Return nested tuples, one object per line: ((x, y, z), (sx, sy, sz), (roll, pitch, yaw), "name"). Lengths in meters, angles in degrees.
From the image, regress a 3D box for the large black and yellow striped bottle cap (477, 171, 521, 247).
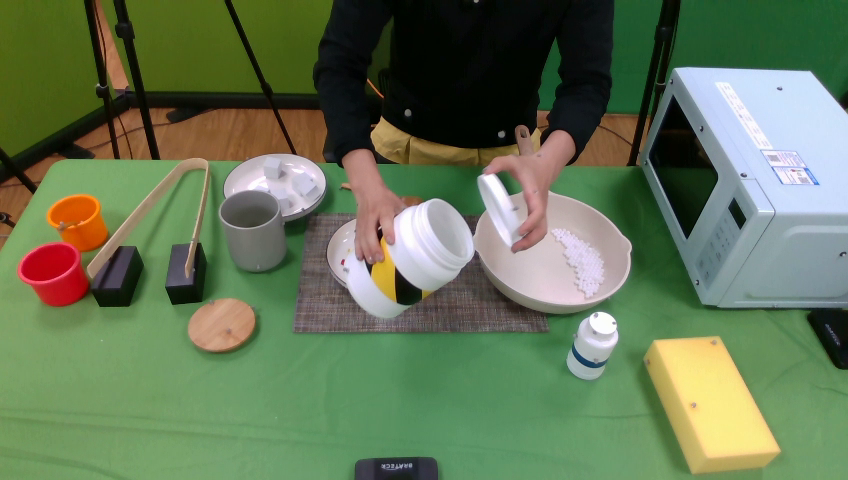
((0.109, -0.046, 0.877), (0.019, 0.115, 0.114), (-24, 50, -2), "large black and yellow striped bottle cap")

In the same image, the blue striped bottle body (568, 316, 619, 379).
((0.276, 0.168, 0.984), (0.063, 0.121, 0.062), (2, 46, -2), "blue striped bottle body")

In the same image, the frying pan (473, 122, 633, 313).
((0.235, -0.061, 1.207), (0.307, 0.103, 0.484), (2, 55, -6), "frying pan")

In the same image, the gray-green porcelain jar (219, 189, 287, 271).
((-0.309, -0.014, 1.113), (0.106, 0.127, 0.105), (2, 46, -2), "gray-green porcelain jar")

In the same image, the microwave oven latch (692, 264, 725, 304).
((0.522, 0.081, 1.116), (0.030, 0.029, 0.078), (1, 46, -2), "microwave oven latch")

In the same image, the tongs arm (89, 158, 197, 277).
((-0.530, -0.058, 1.163), (0.028, 0.028, 0.385), (1, 36, 7), "tongs arm")

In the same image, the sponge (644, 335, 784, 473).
((0.449, 0.253, 0.957), (0.118, 0.061, 0.205), (-3, 47, -7), "sponge")

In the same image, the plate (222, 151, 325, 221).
((-0.310, -0.106, 1.262), (0.208, 0.039, 0.206), (2, 47, -2), "plate")

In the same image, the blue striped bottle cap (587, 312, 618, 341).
((0.279, 0.134, 0.947), (0.044, 0.021, 0.044), (2, 45, -2), "blue striped bottle cap")

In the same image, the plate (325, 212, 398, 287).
((-0.080, 0.030, 1.143), (0.209, 0.038, 0.208), (3, 46, -2), "plate")

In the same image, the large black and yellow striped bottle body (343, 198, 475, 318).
((-0.023, 0.027, 0.945), (0.131, 0.184, 0.130), (34, 37, -31), "large black and yellow striped bottle body")

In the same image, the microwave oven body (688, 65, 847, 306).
((0.669, -0.111, 1.176), (0.326, 0.261, 0.439), (0, 46, -3), "microwave oven body")

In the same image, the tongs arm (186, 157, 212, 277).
((-0.445, -0.058, 1.168), (0.051, 0.026, 0.382), (-4, 37, -6), "tongs arm")

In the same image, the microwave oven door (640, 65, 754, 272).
((0.523, -0.147, 1.193), (0.039, 0.245, 0.353), (0, 47, -3), "microwave oven door")

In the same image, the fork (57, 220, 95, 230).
((-0.624, -0.027, 1.086), (0.028, 0.207, 0.018), (-3, 92, -17), "fork")

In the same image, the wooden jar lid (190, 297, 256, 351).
((-0.342, 0.145, 1.033), (0.108, 0.021, 0.107), (3, 45, -2), "wooden jar lid")

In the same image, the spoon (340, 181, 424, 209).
((-0.090, -0.100, 1.282), (0.193, 0.022, 0.041), (18, 66, 12), "spoon")
